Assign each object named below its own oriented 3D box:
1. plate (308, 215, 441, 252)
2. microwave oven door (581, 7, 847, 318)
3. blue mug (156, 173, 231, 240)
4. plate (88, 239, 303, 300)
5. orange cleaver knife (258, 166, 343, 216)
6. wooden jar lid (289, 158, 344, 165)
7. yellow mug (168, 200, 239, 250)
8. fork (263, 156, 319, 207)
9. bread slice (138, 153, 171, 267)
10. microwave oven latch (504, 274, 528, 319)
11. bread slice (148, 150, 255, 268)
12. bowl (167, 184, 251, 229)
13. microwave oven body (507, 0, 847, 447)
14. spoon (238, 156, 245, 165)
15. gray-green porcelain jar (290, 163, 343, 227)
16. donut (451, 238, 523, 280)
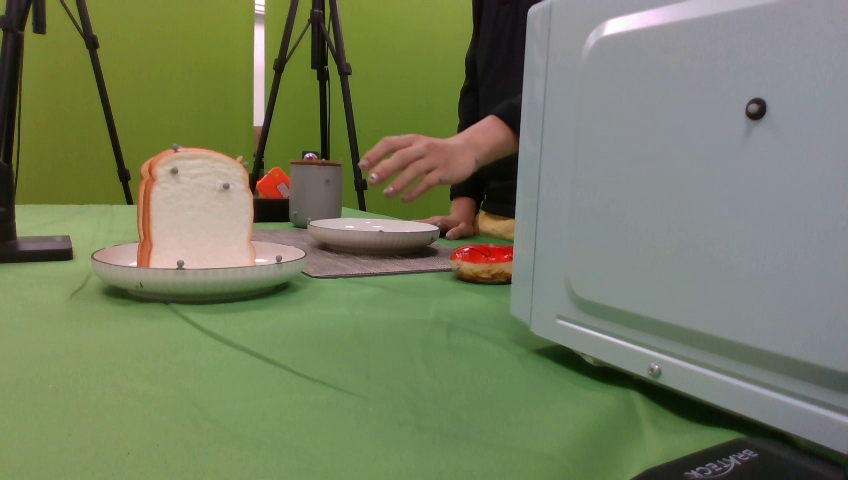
[{"bbox_3d":[-0.078,-0.011,0.954,0.209,0.038,0.209,2,8,0],"label":"plate"},{"bbox_3d":[0.295,-0.067,0.570,0.358,0.243,0.039,-3,8,-31],"label":"microwave oven door"},{"bbox_3d":[-0.381,-0.057,1.004,0.117,0.106,0.082,0,8,-12],"label":"blue mug"},{"bbox_3d":[-0.233,0.029,0.636,0.208,0.039,0.207,2,7,0],"label":"plate"},{"bbox_3d":[-0.276,-0.090,1.369,0.212,0.077,0.012,33,-11,-34],"label":"orange cleaver knife"},{"bbox_3d":[-0.215,-0.153,1.212,0.108,0.020,0.108,2,5,0],"label":"wooden jar lid"},{"bbox_3d":[-0.320,-0.023,0.904,0.130,0.064,0.100,9,11,36],"label":"yellow mug"},{"bbox_3d":[-0.331,-0.144,1.505,0.207,0.018,0.028,-42,-21,22],"label":"fork"},{"bbox_3d":[-0.256,-0.029,0.660,0.105,0.131,0.019,-1,0,-36],"label":"bread slice"},{"bbox_3d":[0.100,0.041,0.470,0.079,0.029,0.030,-1,7,-27],"label":"microwave oven latch"},{"bbox_3d":[-0.230,-0.024,0.618,0.107,0.134,0.018,-8,9,-34],"label":"bread slice"},{"bbox_3d":[-0.408,-0.064,1.154,0.151,0.077,0.151,2,8,0],"label":"bowl"},{"bbox_3d":[0.331,-0.042,0.425,0.444,0.260,0.324,-2,8,-31],"label":"microwave oven body"},{"bbox_3d":[-0.477,-0.145,1.492,0.041,0.022,0.193,-1,51,13],"label":"spoon"},{"bbox_3d":[-0.217,-0.091,1.221,0.106,0.126,0.106,2,7,0],"label":"gray-green porcelain jar"},{"bbox_3d":[0.083,0.022,0.746,0.099,0.048,0.099,1,6,0],"label":"donut"}]
